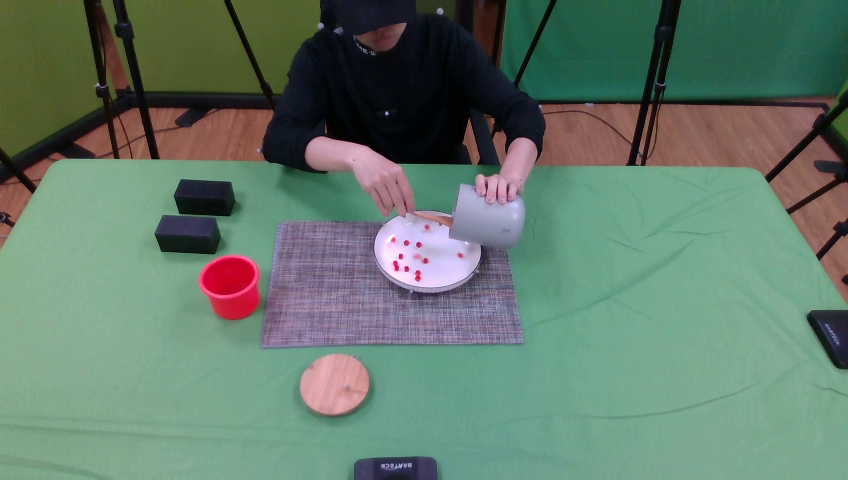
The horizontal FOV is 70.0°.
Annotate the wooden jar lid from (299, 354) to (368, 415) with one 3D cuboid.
[{"bbox_3d":[-0.143,0.232,0.964,0.108,0.021,0.107,2,45,-2],"label":"wooden jar lid"}]

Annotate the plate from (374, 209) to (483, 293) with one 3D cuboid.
[{"bbox_3d":[0.008,0.023,1.158,0.208,0.039,0.206,2,46,-2],"label":"plate"}]

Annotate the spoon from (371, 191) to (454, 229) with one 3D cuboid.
[{"bbox_3d":[-0.008,-0.049,1.112,0.194,0.022,0.041,19,37,-7],"label":"spoon"}]

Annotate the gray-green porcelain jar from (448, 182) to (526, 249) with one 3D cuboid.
[{"bbox_3d":[0.116,-0.043,1.111,0.126,0.106,0.105,11,46,-1],"label":"gray-green porcelain jar"}]
